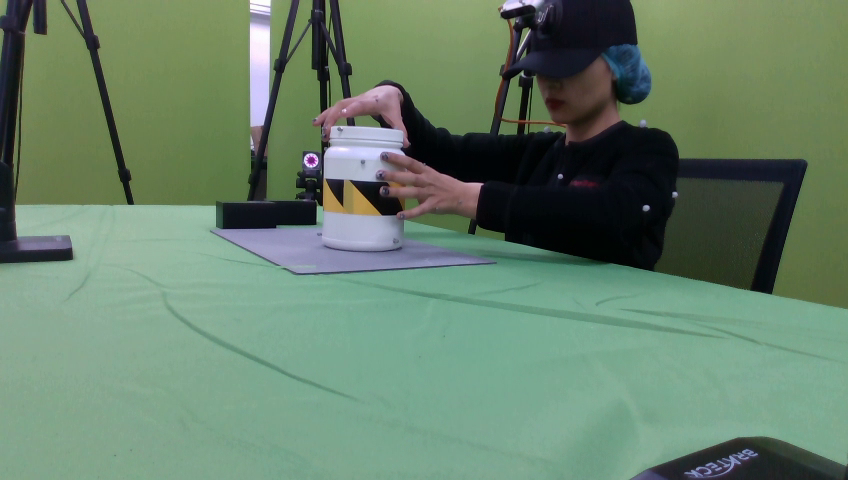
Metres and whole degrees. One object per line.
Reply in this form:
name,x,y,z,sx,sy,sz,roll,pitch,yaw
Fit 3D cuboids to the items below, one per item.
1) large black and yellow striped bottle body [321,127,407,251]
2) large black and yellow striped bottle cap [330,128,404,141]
large black and yellow striped bottle body,-0.093,-0.081,0.949,0.131,0.184,0.130,3,7,0
large black and yellow striped bottle cap,-0.088,-0.163,0.937,0.115,0.019,0.115,1,8,0
